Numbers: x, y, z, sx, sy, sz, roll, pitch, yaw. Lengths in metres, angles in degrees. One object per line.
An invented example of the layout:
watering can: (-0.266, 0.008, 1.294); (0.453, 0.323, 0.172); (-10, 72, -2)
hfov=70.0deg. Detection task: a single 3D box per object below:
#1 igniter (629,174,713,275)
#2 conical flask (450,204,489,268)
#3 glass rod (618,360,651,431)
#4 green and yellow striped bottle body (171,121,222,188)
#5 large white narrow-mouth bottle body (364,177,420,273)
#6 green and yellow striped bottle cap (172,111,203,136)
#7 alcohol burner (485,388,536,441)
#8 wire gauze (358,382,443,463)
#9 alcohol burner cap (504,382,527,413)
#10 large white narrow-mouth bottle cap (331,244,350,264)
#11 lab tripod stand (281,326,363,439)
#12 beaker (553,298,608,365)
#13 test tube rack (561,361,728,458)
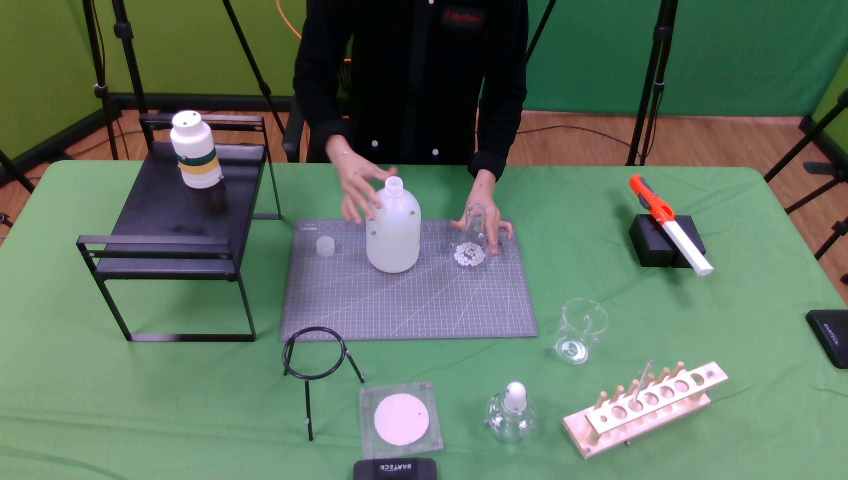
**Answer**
igniter: (0.481, -0.040, 1.202); (0.057, 0.025, 0.274); (-2, 46, -21)
conical flask: (0.091, -0.010, 1.141); (0.075, 0.122, 0.075); (2, 46, -2)
glass rod: (0.298, 0.227, 0.865); (0.008, 0.201, 0.008); (-1, 48, 2)
green and yellow striped bottle body: (-0.375, -0.149, 0.995); (0.063, 0.120, 0.063); (2, 46, -2)
large white narrow-mouth bottle body: (-0.058, -0.034, 1.104); (0.102, 0.195, 0.101); (3, 47, -3)
green and yellow striped bottle cap: (-0.374, -0.185, 0.957); (0.045, 0.020, 0.045); (3, 46, -3)
alcohol burner: (0.131, 0.249, 0.904); (0.078, 0.120, 0.077); (1, 48, -1)
wire gauze: (-0.039, 0.276, 0.937); (0.121, 0.011, 0.124); (-4, 47, -7)
alcohol burner cap: (0.133, 0.225, 0.877); (0.034, 0.048, 0.033); (-4, 47, 5)
large white narrow-mouth bottle cap: (-0.160, 0.026, 1.162); (0.038, 0.024, 0.037); (4, 46, -4)
lab tripod stand: (-0.166, 0.203, 0.913); (0.148, 0.132, 0.147); (1, 47, -1)
beaker: (0.260, 0.154, 1.015); (0.073, 0.101, 0.084); (37, 54, 27)
test tube rack: (0.341, 0.248, 0.940); (0.243, 0.085, 0.066); (-15, 49, -18)
